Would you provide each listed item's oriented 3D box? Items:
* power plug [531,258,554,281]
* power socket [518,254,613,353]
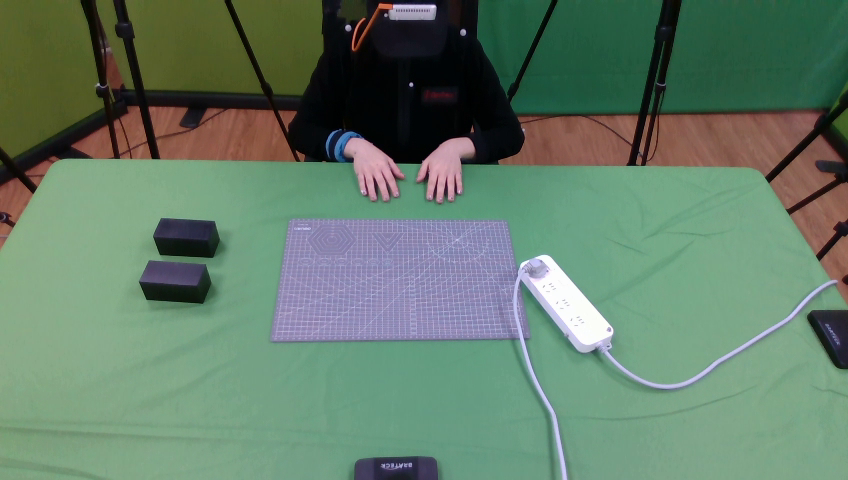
[{"bbox_3d":[0.231,0.059,1.116,0.073,0.035,0.052,24,39,-11],"label":"power plug"},{"bbox_3d":[0.252,0.111,1.099,0.072,0.033,0.225,-19,50,-19],"label":"power socket"}]
